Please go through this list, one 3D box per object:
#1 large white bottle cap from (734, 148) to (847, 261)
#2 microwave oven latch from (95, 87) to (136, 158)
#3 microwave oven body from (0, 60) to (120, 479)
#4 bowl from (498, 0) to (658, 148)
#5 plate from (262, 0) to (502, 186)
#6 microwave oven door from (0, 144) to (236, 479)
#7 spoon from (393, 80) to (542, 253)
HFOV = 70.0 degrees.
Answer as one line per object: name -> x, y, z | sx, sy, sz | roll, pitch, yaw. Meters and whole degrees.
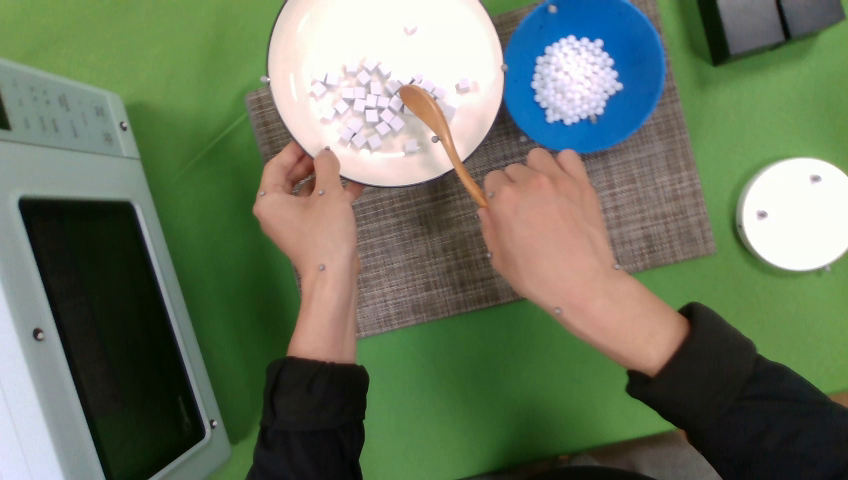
large white bottle cap -> 0.377, -0.035, 0.614 | 0.115, 0.018, 0.115 | 0, 94, 6
microwave oven latch -> -0.352, -0.128, 0.675 | 0.030, 0.029, 0.079 | -18, 92, 8
microwave oven body -> -0.452, 0.090, 0.606 | 0.326, 0.260, 0.442 | -17, 92, 8
bowl -> 0.146, -0.164, 0.601 | 0.151, 0.077, 0.151 | 1, 94, 8
plate -> -0.036, -0.150, 0.542 | 0.209, 0.038, 0.209 | 0, 89, -9
microwave oven door -> -0.302, 0.087, 0.582 | 0.039, 0.244, 0.356 | -18, 91, 9
spoon -> 0.033, -0.062, 0.506 | 0.192, 0.022, 0.042 | 55, 134, 20
